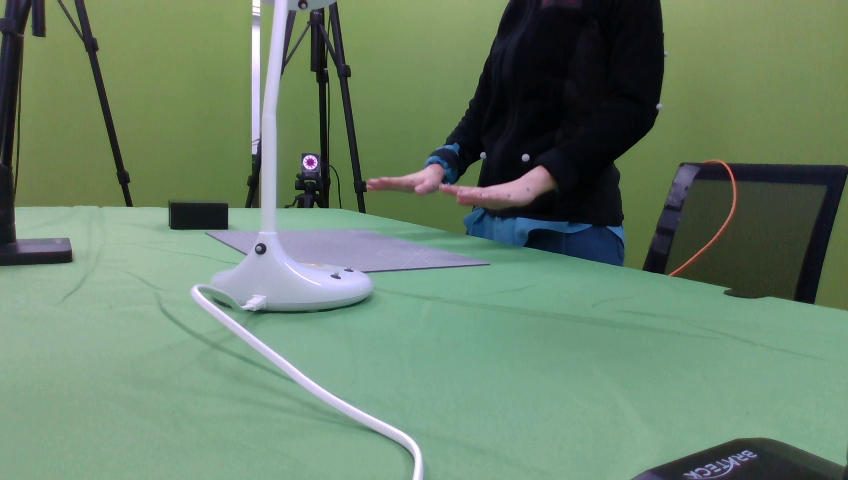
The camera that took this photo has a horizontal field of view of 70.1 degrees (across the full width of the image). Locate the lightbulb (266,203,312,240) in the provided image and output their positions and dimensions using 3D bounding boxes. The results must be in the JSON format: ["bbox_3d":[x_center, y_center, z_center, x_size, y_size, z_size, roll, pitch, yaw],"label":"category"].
[{"bbox_3d":[-0.224,-0.026,1.032,0.059,0.059,0.108,8,25,38],"label":"lightbulb"}]

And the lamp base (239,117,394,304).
[{"bbox_3d":[-0.106,-0.034,0.619,0.161,0.180,0.178,0,10,-17],"label":"lamp base"}]
